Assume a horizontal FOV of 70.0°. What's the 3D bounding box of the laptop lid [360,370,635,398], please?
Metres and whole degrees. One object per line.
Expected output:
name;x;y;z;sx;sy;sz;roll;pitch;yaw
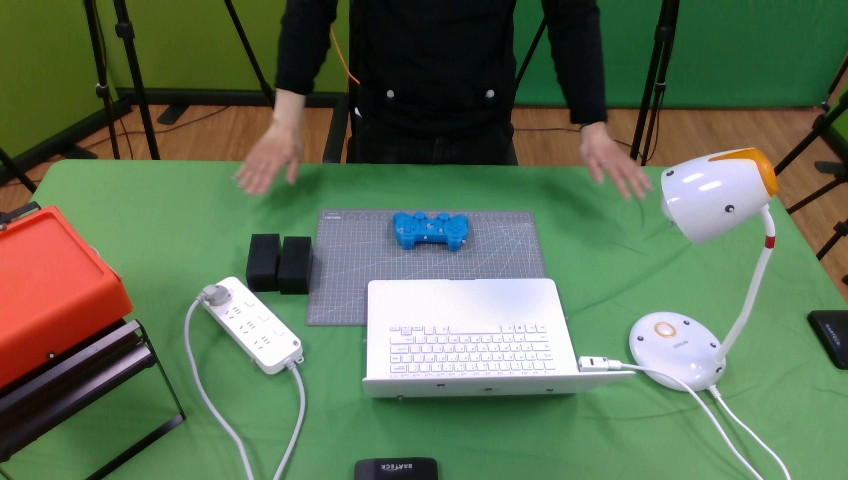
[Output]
laptop lid;0.090;0.208;0.863;0.357;0.242;0.013;0;71;-6

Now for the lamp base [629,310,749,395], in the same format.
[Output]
lamp base;0.447;0.142;0.984;0.161;0.181;0.178;-24;55;-24

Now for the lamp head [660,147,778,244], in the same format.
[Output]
lamp head;0.389;-0.063;0.784;0.123;0.113;0.112;-22;33;37

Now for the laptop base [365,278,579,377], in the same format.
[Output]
laptop base;0.076;0.162;1.053;0.355;0.023;0.234;0;44;-4

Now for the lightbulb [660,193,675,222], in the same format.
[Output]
lightbulb;0.366;-0.060;0.806;0.060;0.107;0.059;17;60;-32

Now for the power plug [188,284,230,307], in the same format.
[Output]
power plug;-0.368;0.100;1.036;0.072;0.053;0.035;-27;54;-24

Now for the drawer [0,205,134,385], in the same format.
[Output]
drawer;-0.533;0.071;0.802;0.193;0.073;0.211;37;55;26

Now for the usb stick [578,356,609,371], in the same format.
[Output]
usb stick;0.274;0.207;1.007;0.059;0.027;0.021;0;52;0

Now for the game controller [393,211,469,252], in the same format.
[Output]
game controller;0.014;-0.027;1.204;0.155;0.052;0.096;2;51;-2

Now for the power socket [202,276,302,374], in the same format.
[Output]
power socket;-0.296;0.142;1.034;0.072;0.033;0.225;-34;58;-31

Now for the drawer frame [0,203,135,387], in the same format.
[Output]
drawer frame;-0.536;0.073;0.798;0.200;0.083;0.213;36;54;26
